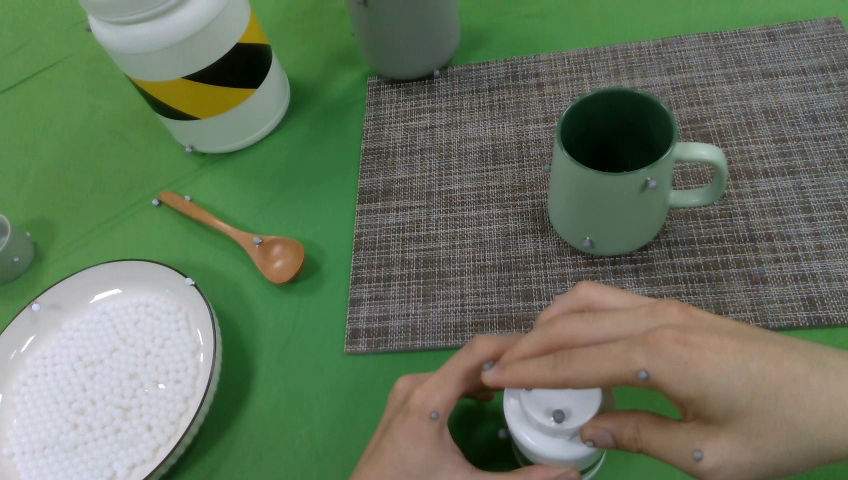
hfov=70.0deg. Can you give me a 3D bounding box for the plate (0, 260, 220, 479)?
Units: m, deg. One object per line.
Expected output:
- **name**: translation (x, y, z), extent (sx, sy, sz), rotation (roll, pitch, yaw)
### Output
- **plate**: translation (-0.257, 0.114, 0.479), extent (0.209, 0.038, 0.207), rotation (-5, 59, 8)

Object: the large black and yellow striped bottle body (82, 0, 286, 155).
- **large black and yellow striped bottle body**: translation (-0.221, -0.182, 0.561), extent (0.130, 0.186, 0.129), rotation (-5, 59, 9)

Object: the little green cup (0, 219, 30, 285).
- **little green cup**: translation (-0.408, 0.012, 0.569), extent (0.061, 0.039, 0.061), rotation (-4, 59, 8)

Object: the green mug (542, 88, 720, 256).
- **green mug**: translation (0.151, -0.047, 0.450), extent (0.125, 0.106, 0.092), rotation (3, 60, 13)

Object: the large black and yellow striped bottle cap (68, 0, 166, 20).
- **large black and yellow striped bottle cap**: translation (-0.237, -0.223, 0.489), extent (0.115, 0.019, 0.114), rotation (-5, 58, 8)

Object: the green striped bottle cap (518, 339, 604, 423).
- **green striped bottle cap**: translation (0.073, 0.074, 0.322), extent (0.044, 0.020, 0.044), rotation (-5, 75, 20)

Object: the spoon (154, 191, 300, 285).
- **spoon**: translation (-0.183, -0.010, 0.547), extent (0.192, 0.022, 0.041), rotation (25, 87, 23)

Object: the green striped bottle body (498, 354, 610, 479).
- **green striped bottle body**: translation (0.079, 0.107, 0.369), extent (0.063, 0.120, 0.062), rotation (-6, 60, 10)

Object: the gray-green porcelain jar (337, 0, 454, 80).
- **gray-green porcelain jar**: translation (-0.028, -0.228, 0.581), extent (0.106, 0.128, 0.105), rotation (-5, 55, 8)
